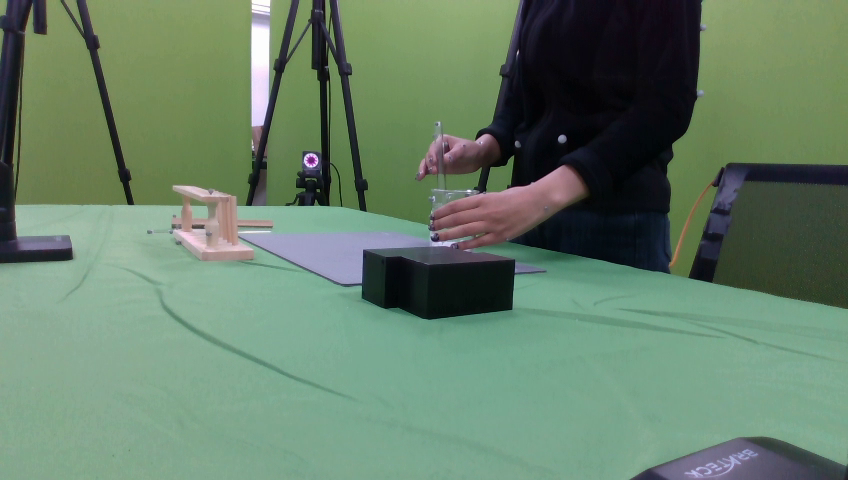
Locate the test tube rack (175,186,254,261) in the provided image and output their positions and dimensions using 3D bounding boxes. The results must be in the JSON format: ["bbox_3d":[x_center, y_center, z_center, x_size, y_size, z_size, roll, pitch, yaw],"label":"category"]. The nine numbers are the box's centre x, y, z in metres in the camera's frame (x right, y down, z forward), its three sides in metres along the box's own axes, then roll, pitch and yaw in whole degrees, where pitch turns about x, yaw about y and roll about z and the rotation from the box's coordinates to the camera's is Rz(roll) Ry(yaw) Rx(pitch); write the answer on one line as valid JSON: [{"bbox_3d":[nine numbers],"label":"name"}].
[{"bbox_3d":[-0.314,-0.031,0.889,0.067,0.085,0.241,-2,8,-30],"label":"test tube rack"}]

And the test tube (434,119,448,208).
[{"bbox_3d":[0.029,-0.129,1.025,0.017,0.150,0.017,-4,-1,0],"label":"test tube"}]

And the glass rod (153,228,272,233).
[{"bbox_3d":[-0.368,-0.017,1.065,0.201,0.008,0.008,-2,8,-27],"label":"glass rod"}]

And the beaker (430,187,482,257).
[{"bbox_3d":[0.045,-0.029,0.911,0.074,0.100,0.083,0,7,-17],"label":"beaker"}]

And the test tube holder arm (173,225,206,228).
[{"bbox_3d":[-0.414,-0.030,1.113,0.088,0.015,0.010,-1,-21,-25],"label":"test tube holder arm"}]

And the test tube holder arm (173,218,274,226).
[{"bbox_3d":[-0.371,-0.033,1.128,0.179,0.015,0.013,-1,-21,-25],"label":"test tube holder arm"}]
